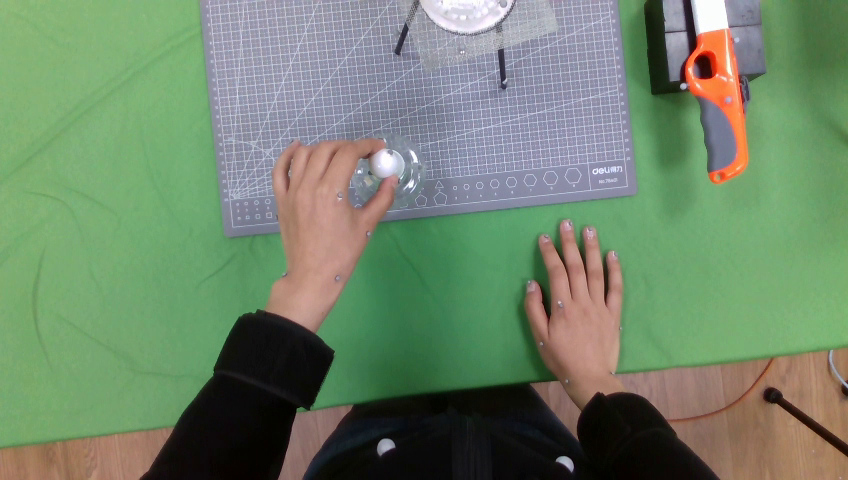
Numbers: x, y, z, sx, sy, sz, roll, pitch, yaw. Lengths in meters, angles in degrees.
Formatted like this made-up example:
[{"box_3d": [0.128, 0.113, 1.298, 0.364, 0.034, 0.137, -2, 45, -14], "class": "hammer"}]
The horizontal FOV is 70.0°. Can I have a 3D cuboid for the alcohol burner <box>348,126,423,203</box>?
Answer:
[{"box_3d": [-0.039, -0.077, 0.601, 0.078, 0.119, 0.078, 0, 91, -1], "class": "alcohol burner"}]

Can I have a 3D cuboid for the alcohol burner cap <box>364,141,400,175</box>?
[{"box_3d": [-0.041, -0.078, 0.565, 0.034, 0.048, 0.034, 0, 93, 3], "class": "alcohol burner cap"}]

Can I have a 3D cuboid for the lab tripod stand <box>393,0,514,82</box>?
[{"box_3d": [0.036, -0.230, 0.591, 0.148, 0.131, 0.148, 0, 88, 1], "class": "lab tripod stand"}]

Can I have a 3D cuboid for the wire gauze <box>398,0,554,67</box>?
[{"box_3d": [0.037, -0.224, 0.526, 0.125, 0.011, 0.121, -19, 91, -3], "class": "wire gauze"}]

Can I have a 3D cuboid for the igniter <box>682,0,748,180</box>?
[{"box_3d": [0.285, -0.199, 0.604, 0.057, 0.025, 0.276, -7, 90, 10], "class": "igniter"}]

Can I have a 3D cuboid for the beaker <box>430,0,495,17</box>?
[{"box_3d": [0.031, -0.227, 0.478, 0.084, 0.100, 0.074, -8, 88, 0], "class": "beaker"}]
